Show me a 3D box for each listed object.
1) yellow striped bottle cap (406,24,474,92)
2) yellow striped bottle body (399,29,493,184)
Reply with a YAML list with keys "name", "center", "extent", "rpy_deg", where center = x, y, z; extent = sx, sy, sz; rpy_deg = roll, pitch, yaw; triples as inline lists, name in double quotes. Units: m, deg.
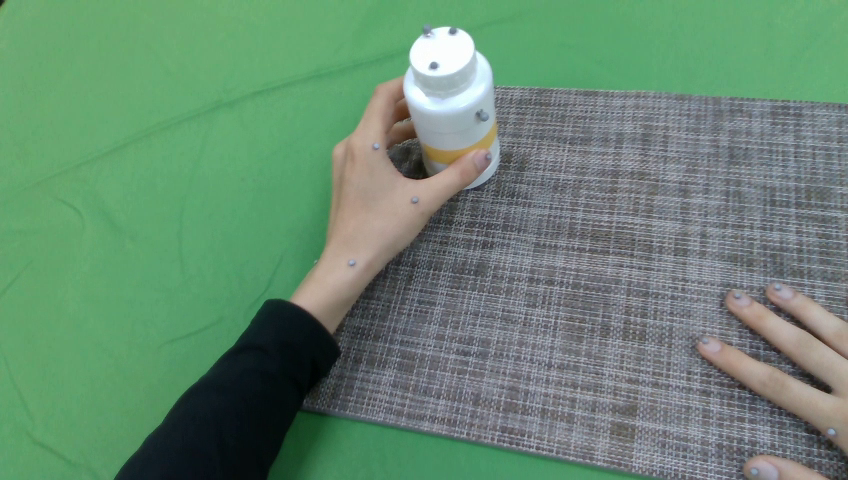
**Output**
- name: "yellow striped bottle cap"
  center: [0.010, -0.121, 0.401]
  extent: [0.044, 0.019, 0.044]
  rpy_deg: [-6, 62, 11]
- name: "yellow striped bottle body"
  center: [0.018, -0.098, 0.447]
  extent: [0.063, 0.121, 0.062]
  rpy_deg: [-3, 63, 7]
